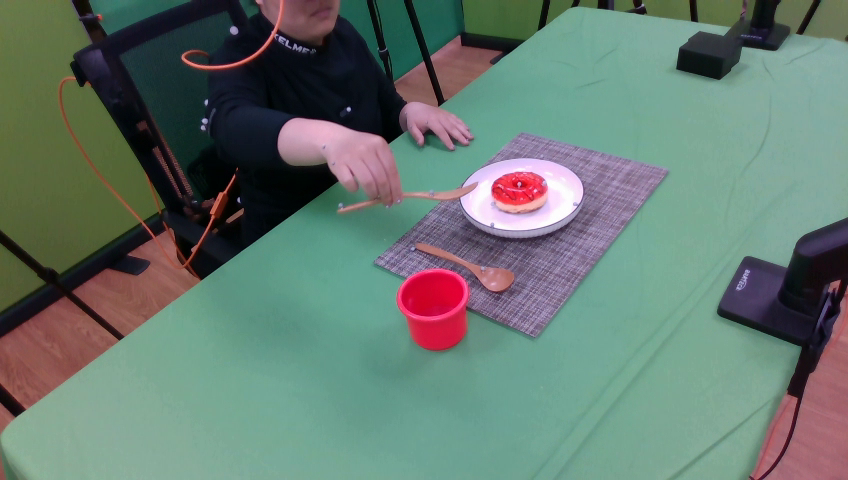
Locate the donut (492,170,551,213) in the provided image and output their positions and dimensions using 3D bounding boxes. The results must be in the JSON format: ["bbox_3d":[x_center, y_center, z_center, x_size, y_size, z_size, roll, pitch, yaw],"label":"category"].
[{"bbox_3d":[0.163,-0.083,1.015,0.099,0.048,0.098,-6,37,5],"label":"donut"}]

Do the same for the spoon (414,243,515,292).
[{"bbox_3d":[0.057,0.035,0.924,0.192,0.022,0.041,25,68,34],"label":"spoon"}]

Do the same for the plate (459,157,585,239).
[{"bbox_3d":[0.163,-0.068,1.015,0.209,0.038,0.208,-5,40,5],"label":"plate"}]

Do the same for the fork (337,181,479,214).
[{"bbox_3d":[-0.025,-0.055,0.802,0.206,0.019,0.028,-6,26,20],"label":"fork"}]
